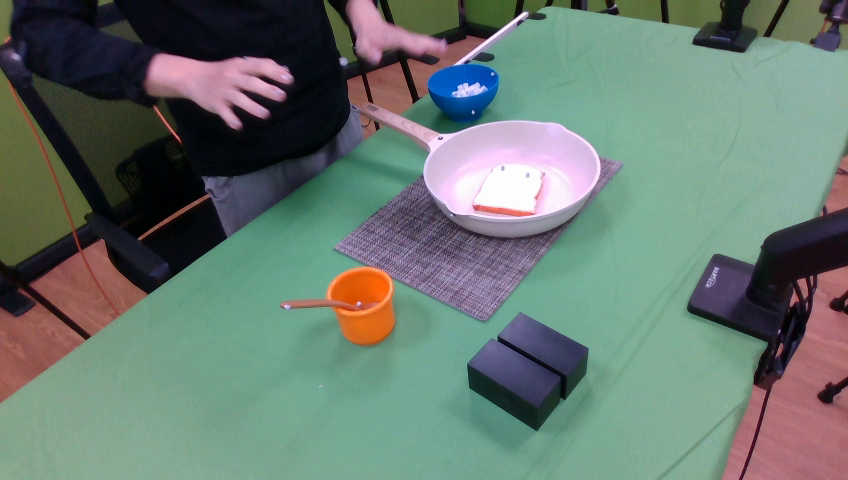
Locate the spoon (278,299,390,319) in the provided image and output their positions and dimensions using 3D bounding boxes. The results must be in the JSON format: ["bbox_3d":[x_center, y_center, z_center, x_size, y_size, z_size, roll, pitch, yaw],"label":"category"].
[{"bbox_3d":[-0.113,0.086,0.787,0.041,0.021,0.195,30,8,36],"label":"spoon"}]

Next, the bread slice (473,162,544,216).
[{"bbox_3d":[0.150,-0.089,1.041,0.106,0.018,0.134,7,44,16],"label":"bread slice"}]

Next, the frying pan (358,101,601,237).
[{"bbox_3d":[0.067,-0.153,1.067,0.484,0.103,0.308,32,52,26],"label":"frying pan"}]

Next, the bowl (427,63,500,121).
[{"bbox_3d":[0.084,-0.301,1.263,0.151,0.077,0.150,-4,41,4],"label":"bowl"}]
